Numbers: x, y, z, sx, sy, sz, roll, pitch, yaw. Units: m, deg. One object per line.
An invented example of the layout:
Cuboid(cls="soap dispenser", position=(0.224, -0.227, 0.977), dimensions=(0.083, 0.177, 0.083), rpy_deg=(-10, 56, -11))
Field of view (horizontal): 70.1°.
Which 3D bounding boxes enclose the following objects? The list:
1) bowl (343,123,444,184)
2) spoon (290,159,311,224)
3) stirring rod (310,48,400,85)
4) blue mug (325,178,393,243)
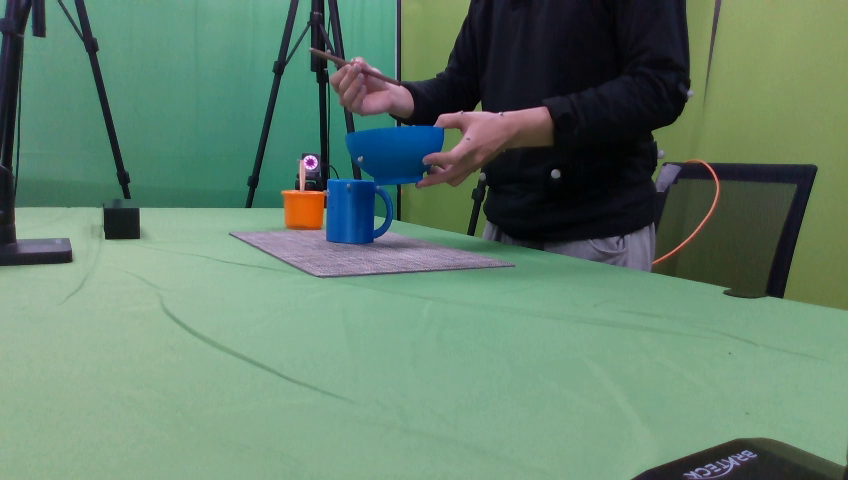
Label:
Cuboid(cls="bowl", position=(-0.042, -0.125, 0.905), dimensions=(0.151, 0.077, 0.151), rpy_deg=(-4, 4, 1))
Cuboid(cls="spoon", position=(-0.256, -0.104, 1.265), dimensions=(0.042, 0.193, 0.021), rpy_deg=(1, -37, -9))
Cuboid(cls="stirring rod", position=(-0.112, -0.277, 0.961), dimensions=(0.175, 0.006, 0.014), rpy_deg=(25, -11, 22))
Cuboid(cls="blue mug", position=(-0.111, -0.052, 1.034), dimensions=(0.116, 0.106, 0.082), rpy_deg=(3, 8, 7))
